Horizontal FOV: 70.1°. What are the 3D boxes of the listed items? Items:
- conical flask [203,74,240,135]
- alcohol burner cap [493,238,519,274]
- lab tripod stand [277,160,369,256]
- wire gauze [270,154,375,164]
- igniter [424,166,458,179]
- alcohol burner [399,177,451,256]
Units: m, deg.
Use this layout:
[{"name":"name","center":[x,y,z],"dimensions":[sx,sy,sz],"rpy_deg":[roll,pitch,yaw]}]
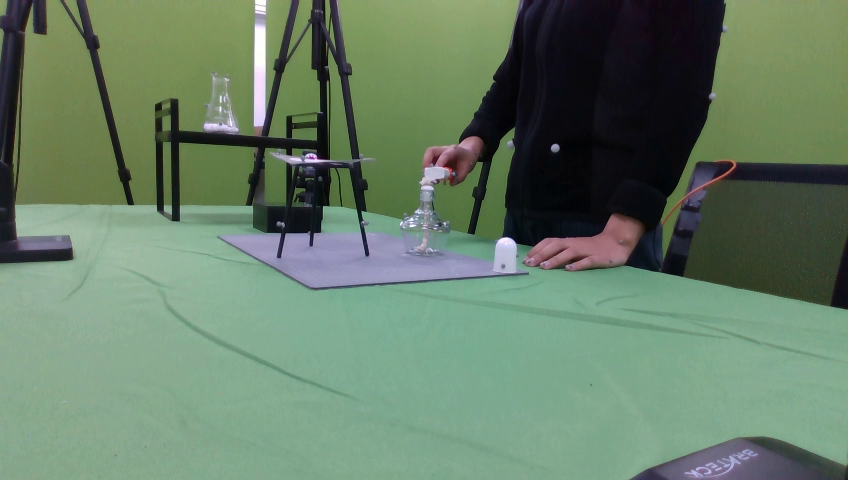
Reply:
[{"name":"conical flask","center":[-0.425,-0.284,1.271],"dimensions":[0.075,0.122,0.075],"rpy_deg":[3,7,0]},{"name":"alcohol burner cap","center":[0.107,0.021,0.785],"dimensions":[0.034,0.048,0.034],"rpy_deg":[0,8,0]},{"name":"lab tripod stand","center":[-0.150,-0.046,0.861],"dimensions":[0.148,0.131,0.148],"rpy_deg":[3,9,0]},{"name":"wire gauze","center":[-0.146,-0.114,0.860],"dimensions":[0.122,0.011,0.124],"rpy_deg":[-2,9,-29]},{"name":"igniter","center":[0.028,-0.117,1.056],"dimensions":[0.057,0.025,0.276],"rpy_deg":[1,7,5]},{"name":"alcohol burner","center":[0.003,-0.035,0.908],"dimensions":[0.078,0.119,0.078],"rpy_deg":[4,8,0]}]
